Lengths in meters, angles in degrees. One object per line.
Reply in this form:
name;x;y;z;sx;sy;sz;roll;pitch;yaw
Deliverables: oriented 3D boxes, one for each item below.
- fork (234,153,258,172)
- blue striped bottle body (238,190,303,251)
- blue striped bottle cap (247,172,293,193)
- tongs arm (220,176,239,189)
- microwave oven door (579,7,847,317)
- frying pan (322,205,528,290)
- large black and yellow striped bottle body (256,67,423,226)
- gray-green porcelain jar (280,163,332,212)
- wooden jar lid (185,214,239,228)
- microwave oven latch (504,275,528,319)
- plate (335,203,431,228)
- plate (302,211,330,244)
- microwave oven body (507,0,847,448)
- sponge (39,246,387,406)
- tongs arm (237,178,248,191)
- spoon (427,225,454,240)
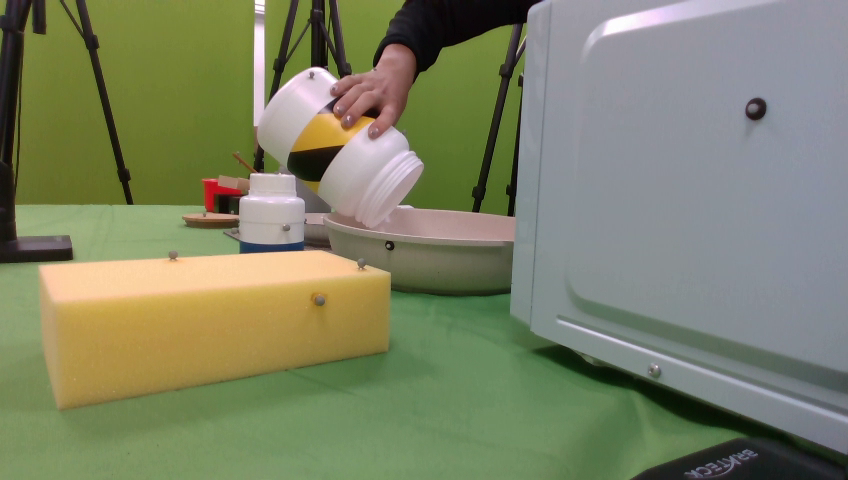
fork;-0.396;-0.143;1.486;0.028;0.018;0.208;20;-26;45
blue striped bottle body;-0.153;-0.007;0.605;0.063;0.120;0.063;2;7;0
blue striped bottle cap;-0.152;-0.057;0.598;0.044;0.020;0.044;3;7;0
tongs arm;-0.285;-0.105;1.445;0.389;0.027;0.028;9;-3;-23
microwave oven door;0.294;-0.067;0.570;0.358;0.243;0.039;-3;9;-31
frying pan;0.109;-0.017;0.800;0.490;0.102;0.305;-12;16;-30
large black and yellow striped bottle body;-0.104;-0.116;0.774;0.184;0.130;0.131;40;13;5
gray-green porcelain jar;-0.238;-0.092;1.221;0.106;0.126;0.106;2;7;0
wooden jar lid;-0.404;-0.037;1.169;0.108;0.020;0.108;3;7;0
microwave oven latch;0.100;0.042;0.471;0.079;0.029;0.030;-1;7;-28
plate;-0.089;-0.053;1.309;0.208;0.039;0.207;2;8;0
plate;-0.139;-0.022;1.021;0.209;0.038;0.209;2;8;0
microwave oven body;0.331;-0.042;0.425;0.444;0.260;0.324;-2;8;-31
sponge;-0.142;0.047;0.420;0.208;0.061;0.117;-4;10;-36
tongs arm;-0.241;-0.095;1.374;0.387;0.026;0.050;9;0;-37
spoon;0.024;-0.019;1.124;0.042;0.021;0.193;-16;9;-4
